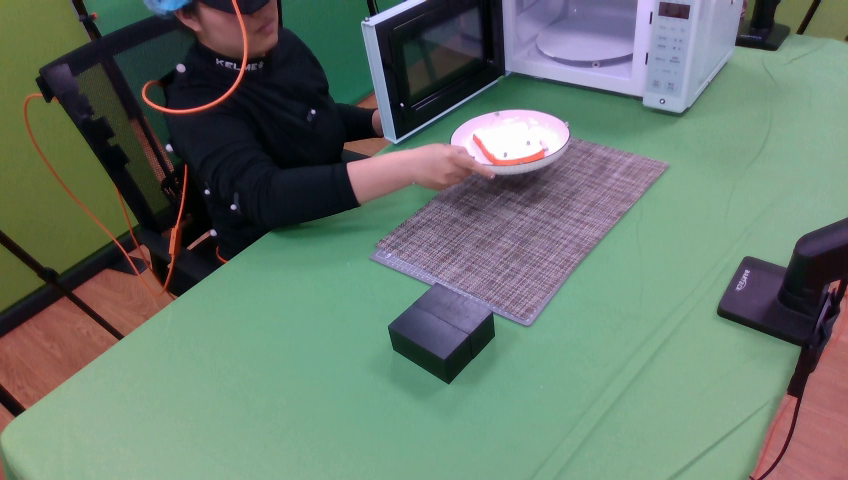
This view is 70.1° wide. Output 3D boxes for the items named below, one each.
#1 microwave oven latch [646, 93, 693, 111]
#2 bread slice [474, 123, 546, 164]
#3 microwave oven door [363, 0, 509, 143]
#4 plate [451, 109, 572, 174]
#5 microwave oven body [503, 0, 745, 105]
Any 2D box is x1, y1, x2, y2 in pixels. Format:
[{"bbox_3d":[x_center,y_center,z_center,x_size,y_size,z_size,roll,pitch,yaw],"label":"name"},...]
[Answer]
[{"bbox_3d":[0.477,-0.273,1.177,0.078,0.029,0.030,22,50,33],"label":"microwave oven latch"},{"bbox_3d":[0.156,-0.167,1.062,0.105,0.019,0.130,-14,36,-6],"label":"bread slice"},{"bbox_3d":[0.040,-0.386,1.238,0.357,0.245,0.039,-36,47,-28],"label":"microwave oven door"},{"bbox_3d":[0.152,-0.168,1.059,0.209,0.038,0.208,-5,36,4],"label":"plate"},{"bbox_3d":[0.416,-0.486,1.290,0.438,0.261,0.327,21,50,33],"label":"microwave oven body"}]
